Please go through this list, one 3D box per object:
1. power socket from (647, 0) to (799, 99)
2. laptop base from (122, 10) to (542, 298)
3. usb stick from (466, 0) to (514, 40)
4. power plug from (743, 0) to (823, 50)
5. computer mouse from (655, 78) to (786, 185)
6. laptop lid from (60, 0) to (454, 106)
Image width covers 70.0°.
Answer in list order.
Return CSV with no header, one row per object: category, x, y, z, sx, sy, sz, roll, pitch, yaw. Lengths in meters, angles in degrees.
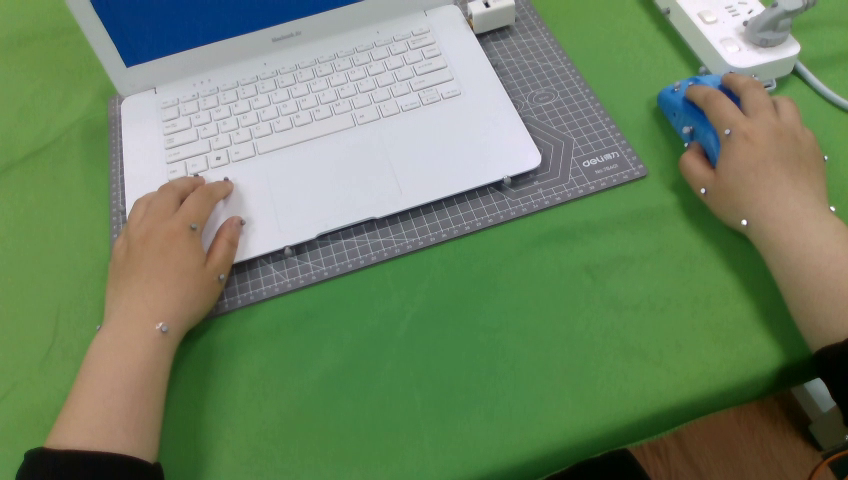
power socket,0.277,-0.226,0.594,0.072,0.033,0.224,-15,56,-2
laptop base,-0.098,-0.093,0.561,0.354,0.023,0.233,-18,59,-5
usb stick,0.060,-0.221,0.611,0.059,0.027,0.021,-19,57,-1
power plug,0.322,-0.186,0.536,0.072,0.053,0.035,-6,58,4
computer mouse,0.247,-0.098,0.509,0.063,0.041,0.116,-16,51,-1
laptop lid,-0.154,-0.268,0.545,0.357,0.244,0.013,-19,43,-4
